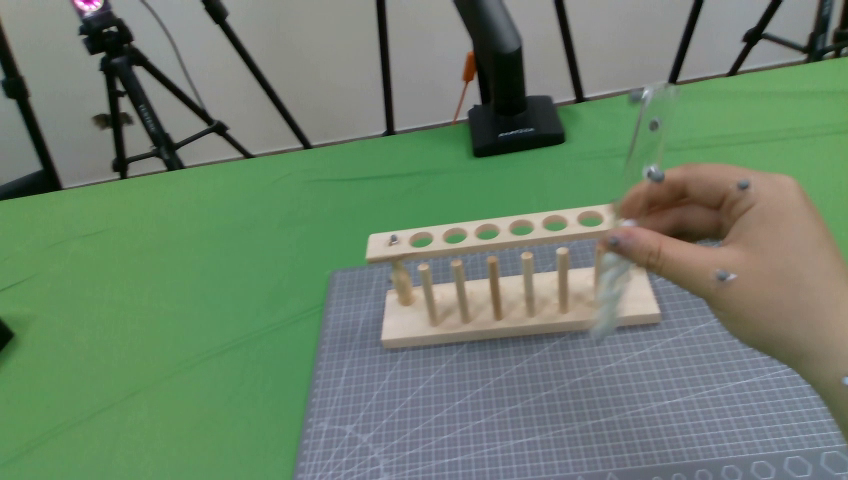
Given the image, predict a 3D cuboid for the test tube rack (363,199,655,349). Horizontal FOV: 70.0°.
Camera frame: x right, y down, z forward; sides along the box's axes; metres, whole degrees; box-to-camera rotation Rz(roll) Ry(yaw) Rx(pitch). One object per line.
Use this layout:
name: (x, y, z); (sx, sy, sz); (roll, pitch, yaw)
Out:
test tube rack: (0.073, 0.032, 0.534); (0.242, 0.086, 0.066); (-7, 39, 8)

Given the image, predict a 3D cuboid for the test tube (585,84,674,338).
test tube: (0.103, -0.006, 0.314); (0.017, 0.151, 0.017); (1, 35, 0)
